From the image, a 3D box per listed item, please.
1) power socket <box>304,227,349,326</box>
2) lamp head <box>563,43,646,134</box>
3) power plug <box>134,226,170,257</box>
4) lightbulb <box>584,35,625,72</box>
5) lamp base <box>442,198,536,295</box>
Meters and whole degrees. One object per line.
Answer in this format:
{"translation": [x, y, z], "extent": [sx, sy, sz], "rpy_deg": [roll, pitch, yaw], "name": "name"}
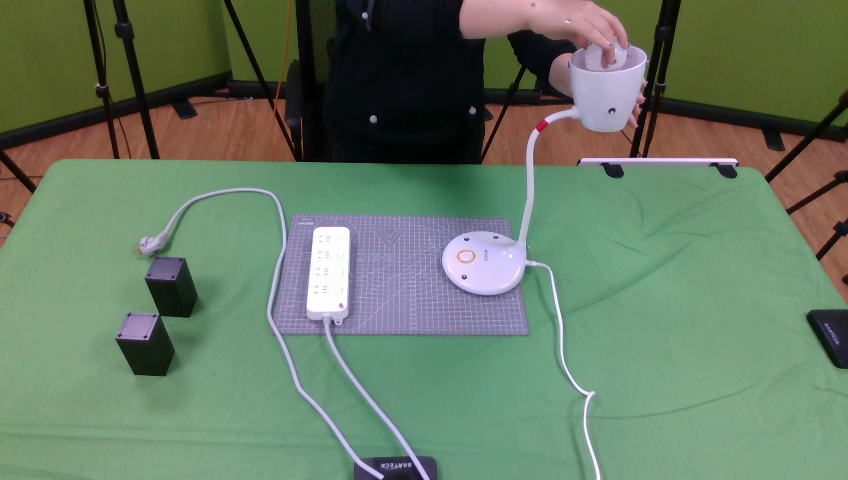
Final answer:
{"translation": [-0.177, 0.059, 1.115], "extent": [0.072, 0.033, 0.225], "rpy_deg": [-1, 46, -4], "name": "power socket"}
{"translation": [0.273, -0.226, 0.932], "extent": [0.112, 0.123, 0.112], "rpy_deg": [-2, 37, 2], "name": "lamp head"}
{"translation": [-0.515, 0.006, 1.153], "extent": [0.052, 0.035, 0.072], "rpy_deg": [-6, 24, 7], "name": "power plug"}
{"translation": [0.273, -0.255, 0.917], "extent": [0.059, 0.108, 0.059], "rpy_deg": [-9, 32, 6], "name": "lightbulb"}
{"translation": [0.130, -0.012, 1.105], "extent": [0.179, 0.181, 0.159], "rpy_deg": [-1, 46, -9], "name": "lamp base"}
